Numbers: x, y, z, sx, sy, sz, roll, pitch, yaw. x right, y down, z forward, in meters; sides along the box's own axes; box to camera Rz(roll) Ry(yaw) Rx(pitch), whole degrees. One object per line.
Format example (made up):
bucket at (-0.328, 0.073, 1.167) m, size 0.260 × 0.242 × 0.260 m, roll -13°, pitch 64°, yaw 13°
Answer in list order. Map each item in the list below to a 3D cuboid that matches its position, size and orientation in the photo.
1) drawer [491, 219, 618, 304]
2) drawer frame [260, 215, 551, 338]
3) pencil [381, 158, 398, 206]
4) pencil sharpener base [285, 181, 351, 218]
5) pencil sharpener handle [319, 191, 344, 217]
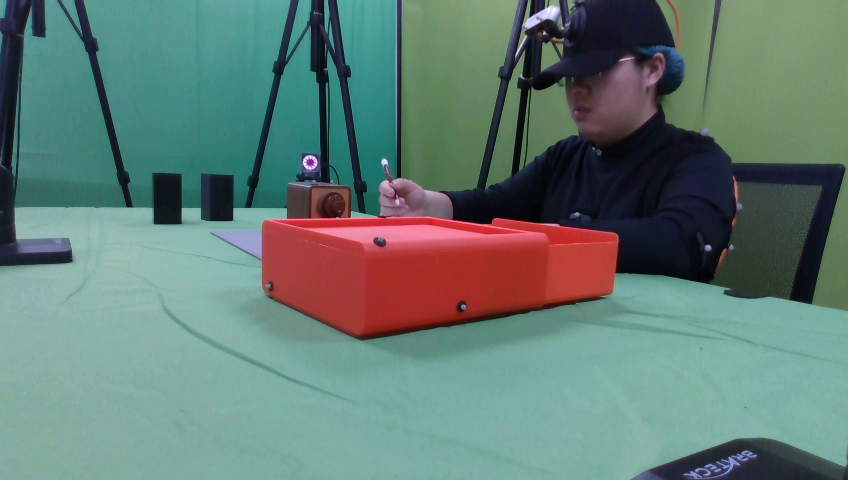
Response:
drawer at (0.071, 0.021, 0.670) m, size 0.213 × 0.073 × 0.193 m, roll -3°, pitch 10°, yaw -39°
drawer frame at (-0.021, 0.023, 0.595) m, size 0.215 × 0.082 × 0.200 m, roll -4°, pitch 10°, yaw -38°
pencil at (-0.061, -0.104, 1.073) m, size 0.012 × 0.012 × 0.193 m, roll 1°, pitch 30°, yaw -13°
pencil sharpener base at (-0.139, -0.021, 0.789) m, size 0.062 × 0.107 × 0.076 m, roll -2°, pitch 9°, yaw -36°
pencil sharpener handle at (-0.107, -0.026, 0.748) m, size 0.036 × 0.067 × 0.030 m, roll -6°, pitch 11°, yaw -36°
